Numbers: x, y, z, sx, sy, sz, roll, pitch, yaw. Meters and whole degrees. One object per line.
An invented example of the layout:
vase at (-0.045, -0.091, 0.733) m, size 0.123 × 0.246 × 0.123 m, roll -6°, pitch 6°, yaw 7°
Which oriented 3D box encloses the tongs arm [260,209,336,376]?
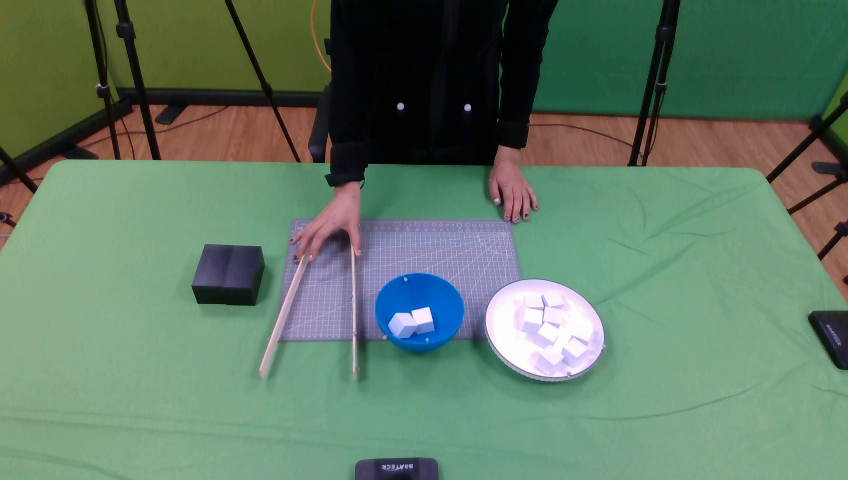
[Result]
tongs arm at (-0.224, 0.077, 1.093) m, size 0.028 × 0.028 × 0.385 m, roll 5°, pitch 45°, yaw 8°

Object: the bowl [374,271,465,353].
bowl at (-0.009, 0.136, 1.024) m, size 0.151 × 0.077 × 0.150 m, roll 2°, pitch 47°, yaw -2°

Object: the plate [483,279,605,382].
plate at (0.204, 0.158, 1.046) m, size 0.208 × 0.039 × 0.206 m, roll 3°, pitch 47°, yaw -3°

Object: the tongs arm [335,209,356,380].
tongs arm at (-0.146, 0.081, 1.095) m, size 0.051 × 0.026 × 0.382 m, roll -1°, pitch 45°, yaw -3°
